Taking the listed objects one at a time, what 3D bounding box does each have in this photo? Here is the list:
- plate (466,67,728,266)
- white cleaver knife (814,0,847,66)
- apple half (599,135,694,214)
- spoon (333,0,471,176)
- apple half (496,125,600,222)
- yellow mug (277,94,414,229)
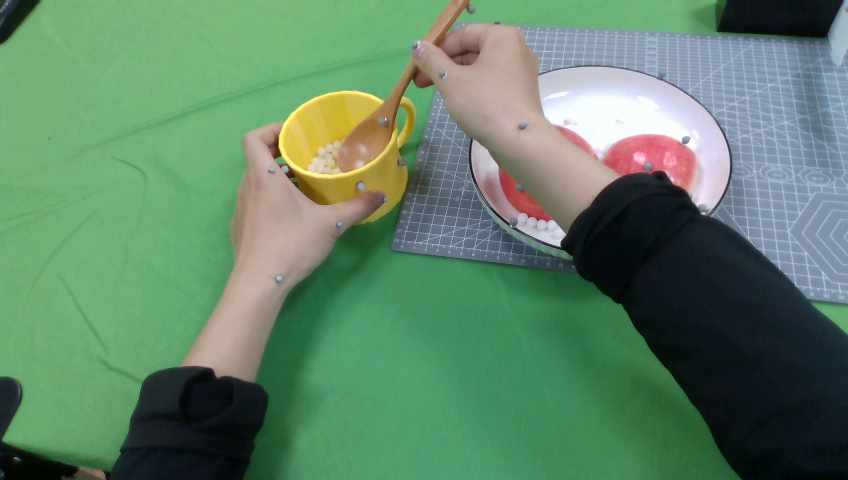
[{"bbox_3d":[0.139,-0.063,0.508,0.209,0.038,0.207,-3,56,5],"label":"plate"},{"bbox_3d":[0.387,-0.201,0.555,0.021,0.066,0.284,4,52,16],"label":"white cleaver knife"},{"bbox_3d":[0.182,-0.062,0.494,0.081,0.033,0.080,-3,58,5],"label":"apple half"},{"bbox_3d":[-0.013,-0.126,0.475,0.041,0.022,0.194,48,116,20],"label":"spoon"},{"bbox_3d":[0.100,-0.062,0.492,0.081,0.054,0.074,-30,55,-13],"label":"apple half"},{"bbox_3d":[-0.058,-0.078,0.529,0.131,0.064,0.099,-40,61,-21],"label":"yellow mug"}]
